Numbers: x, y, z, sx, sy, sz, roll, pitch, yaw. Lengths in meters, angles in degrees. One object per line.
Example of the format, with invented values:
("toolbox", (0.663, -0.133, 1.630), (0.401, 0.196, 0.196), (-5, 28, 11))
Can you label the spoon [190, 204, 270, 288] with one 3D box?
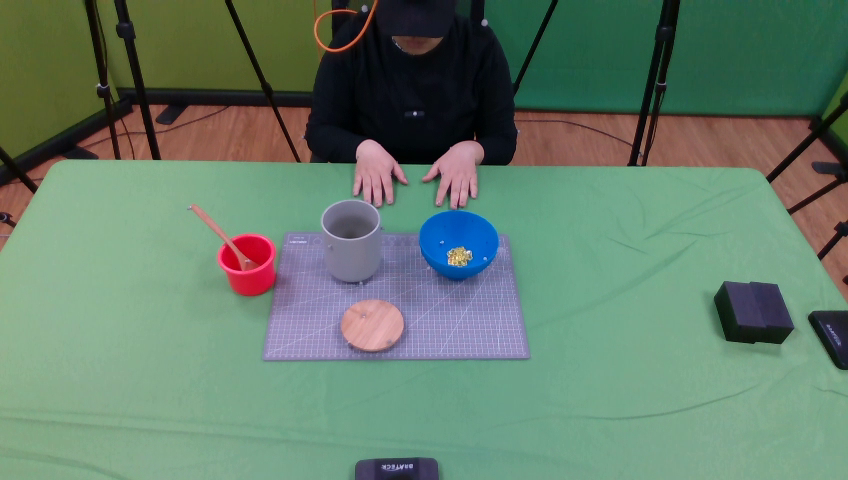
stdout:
("spoon", (-0.345, 0.009, 1.079), (0.194, 0.021, 0.041), (54, 51, -15))

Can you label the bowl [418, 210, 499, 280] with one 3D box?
("bowl", (0.062, 0.022, 1.140), (0.151, 0.077, 0.150), (2, 46, -2))

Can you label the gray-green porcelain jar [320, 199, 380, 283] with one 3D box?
("gray-green porcelain jar", (-0.133, 0.007, 1.106), (0.106, 0.127, 0.105), (2, 46, -2))

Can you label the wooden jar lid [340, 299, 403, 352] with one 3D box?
("wooden jar lid", (-0.090, 0.150, 1.046), (0.108, 0.021, 0.107), (3, 47, -3))
